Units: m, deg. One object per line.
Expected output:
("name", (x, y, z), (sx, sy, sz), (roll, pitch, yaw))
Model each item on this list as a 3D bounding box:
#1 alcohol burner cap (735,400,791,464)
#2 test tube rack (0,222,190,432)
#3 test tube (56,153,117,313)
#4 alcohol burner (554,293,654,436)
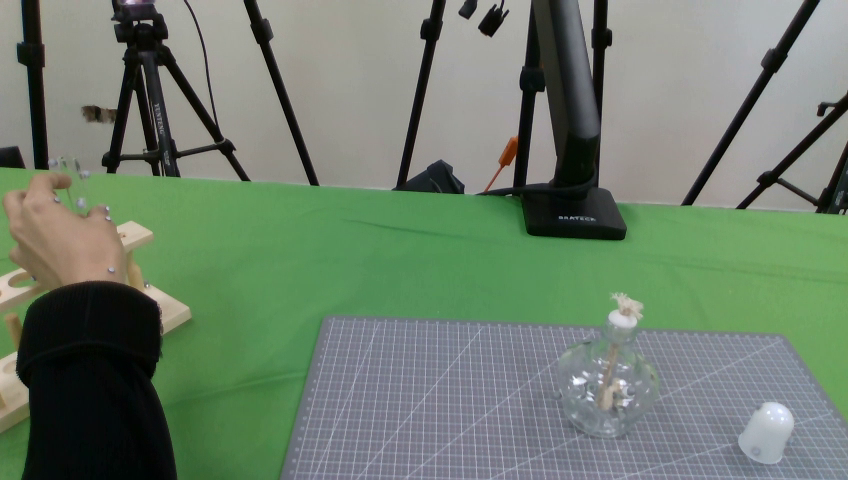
("alcohol burner cap", (0.261, 0.144, 0.463), (0.034, 0.048, 0.033), (1, 32, 0))
("test tube rack", (-0.317, 0.079, 0.486), (0.066, 0.086, 0.242), (23, 37, 28))
("test tube", (-0.288, -0.002, 0.521), (0.017, 0.151, 0.017), (1, 28, 0))
("alcohol burner", (0.142, 0.092, 0.468), (0.078, 0.120, 0.077), (2, 31, -1))
